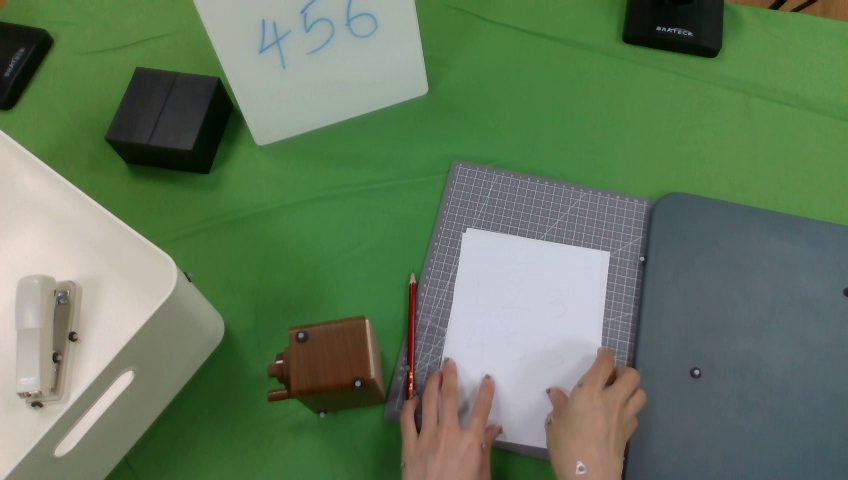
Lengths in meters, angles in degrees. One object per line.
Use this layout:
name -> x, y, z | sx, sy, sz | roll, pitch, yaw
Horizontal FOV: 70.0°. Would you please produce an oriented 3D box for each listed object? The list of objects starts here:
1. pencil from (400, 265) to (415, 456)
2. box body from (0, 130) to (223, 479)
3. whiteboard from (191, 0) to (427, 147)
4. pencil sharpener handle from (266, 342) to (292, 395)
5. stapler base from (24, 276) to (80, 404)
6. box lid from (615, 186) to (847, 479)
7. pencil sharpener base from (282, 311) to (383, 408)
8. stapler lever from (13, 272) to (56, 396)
pencil -> -0.015, 0.114, 0.604 | 0.012, 0.012, 0.192 | 1, 66, 2
box body -> -0.403, 0.055, 0.554 | 0.362, 0.161, 0.253 | 32, 71, 14
whiteboard -> -0.139, -0.293, 0.656 | 0.217, 0.308, 0.142 | -19, 48, -7
pencil sharpener handle -> -0.132, 0.119, 0.539 | 0.030, 0.068, 0.035 | -8, 50, -2
stapler base -> -0.376, 0.095, 0.605 | 0.041, 0.024, 0.129 | -7, 69, 0
box lid -> 0.336, 0.125, 0.596 | 0.263, 0.015, 0.369 | 12, 68, 5
pencil sharpener base -> -0.082, 0.113, 0.555 | 0.077, 0.108, 0.061 | -8, 67, -2
stapler lever -> -0.375, 0.087, 0.581 | 0.027, 0.040, 0.117 | -7, 69, 0
